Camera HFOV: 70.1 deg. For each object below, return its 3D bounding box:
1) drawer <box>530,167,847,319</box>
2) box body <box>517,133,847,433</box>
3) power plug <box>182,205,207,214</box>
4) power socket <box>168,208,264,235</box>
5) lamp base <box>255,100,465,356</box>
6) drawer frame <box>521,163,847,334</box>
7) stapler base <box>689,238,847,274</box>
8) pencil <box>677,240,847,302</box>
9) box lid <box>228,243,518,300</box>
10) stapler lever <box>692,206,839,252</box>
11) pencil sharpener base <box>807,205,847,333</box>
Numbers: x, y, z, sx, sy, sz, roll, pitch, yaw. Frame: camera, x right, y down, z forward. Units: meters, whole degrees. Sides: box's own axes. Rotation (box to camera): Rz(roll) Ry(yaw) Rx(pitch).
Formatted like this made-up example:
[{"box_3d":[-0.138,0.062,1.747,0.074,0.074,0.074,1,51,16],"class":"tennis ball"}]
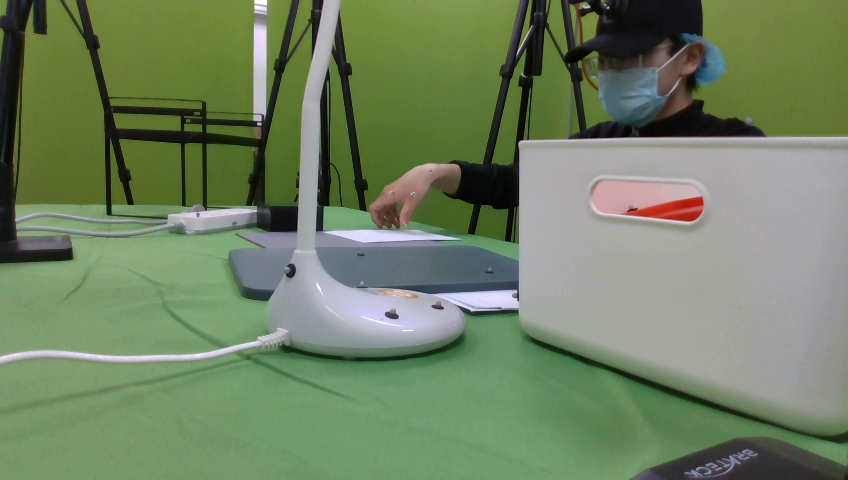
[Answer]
[{"box_3d":[0.225,0.003,0.468,0.213,0.073,0.193,-14,2,-36],"class":"drawer"},{"box_3d":[0.278,0.005,0.486,0.366,0.160,0.253,-3,9,-36],"class":"box body"},{"box_3d":[-0.456,-0.041,1.195,0.052,0.035,0.072,0,40,24],"class":"power plug"},{"box_3d":[-0.381,-0.038,1.129,0.072,0.032,0.227,4,8,17],"class":"power socket"},{"box_3d":[-0.051,-0.014,0.466,0.160,0.180,0.180,7,11,33],"class":"lamp base"},{"box_3d":[0.224,0.002,0.465,0.215,0.082,0.200,-14,2,-36],"class":"drawer frame"},{"box_3d":[0.270,0.012,0.488,0.041,0.024,0.130,-15,3,-19],"class":"stapler base"},{"box_3d":[0.248,0.018,0.464,0.012,0.012,0.193,1,10,-9],"class":"pencil"},{"box_3d":[-0.044,0.033,0.757,0.373,0.015,0.262,-1,9,-22],"class":"box lid"},{"box_3d":[0.266,-0.011,0.486,0.027,0.040,0.117,-15,2,-19],"class":"stapler lever"},{"box_3d":[0.385,0.026,0.519,0.062,0.107,0.076,-5,11,-43],"class":"pencil sharpener base"}]
